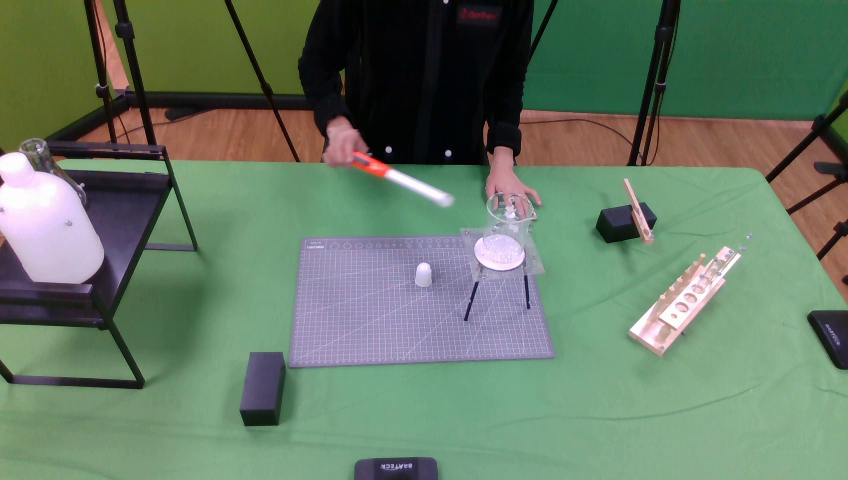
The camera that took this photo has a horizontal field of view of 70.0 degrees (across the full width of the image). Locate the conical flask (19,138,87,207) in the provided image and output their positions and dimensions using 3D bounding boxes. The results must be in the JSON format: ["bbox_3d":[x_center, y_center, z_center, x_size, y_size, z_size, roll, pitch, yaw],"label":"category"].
[{"bbox_3d":[-0.576,-0.097,0.930,0.075,0.122,0.075,2,46,-2],"label":"conical flask"}]

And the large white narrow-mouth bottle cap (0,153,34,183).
[{"bbox_3d":[-0.510,-0.090,0.755,0.038,0.024,0.037,2,46,-2],"label":"large white narrow-mouth bottle cap"}]

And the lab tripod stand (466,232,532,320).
[{"bbox_3d":[0.125,0.059,1.065,0.148,0.132,0.147,1,45,0],"label":"lab tripod stand"}]

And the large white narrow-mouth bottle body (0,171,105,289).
[{"bbox_3d":[-0.513,-0.029,0.818,0.102,0.195,0.101,2,46,-2],"label":"large white narrow-mouth bottle body"}]

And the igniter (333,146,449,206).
[{"bbox_3d":[-0.068,-0.116,1.062,0.275,0.057,0.025,27,90,35],"label":"igniter"}]

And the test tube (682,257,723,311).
[{"bbox_3d":[0.475,0.080,1.037,0.017,0.151,0.017,1,51,-1],"label":"test tube"}]

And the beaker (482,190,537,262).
[{"bbox_3d":[0.136,-0.019,0.983,0.084,0.101,0.073,17,47,14],"label":"beaker"}]

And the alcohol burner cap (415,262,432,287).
[{"bbox_3d":[0.000,0.061,1.119,0.034,0.048,0.033,3,44,-2],"label":"alcohol burner cap"}]

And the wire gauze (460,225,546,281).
[{"bbox_3d":[0.130,0.017,1.016,0.121,0.011,0.124,-4,43,-9],"label":"wire gauze"}]

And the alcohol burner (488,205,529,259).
[{"bbox_3d":[0.163,-0.020,1.158,0.078,0.120,0.077,0,47,0],"label":"alcohol burner"}]

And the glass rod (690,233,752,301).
[{"bbox_3d":[0.507,0.053,1.041,0.008,0.200,0.008,5,51,-6],"label":"glass rod"}]

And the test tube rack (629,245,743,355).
[{"bbox_3d":[0.474,0.095,1.091,0.242,0.085,0.066,-34,56,-31],"label":"test tube rack"}]

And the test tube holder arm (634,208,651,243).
[{"bbox_3d":[0.428,-0.030,1.189,0.010,0.015,0.087,1,47,-2],"label":"test tube holder arm"}]

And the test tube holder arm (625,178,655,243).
[{"bbox_3d":[0.433,-0.063,1.220,0.013,0.015,0.177,1,47,-3],"label":"test tube holder arm"}]
